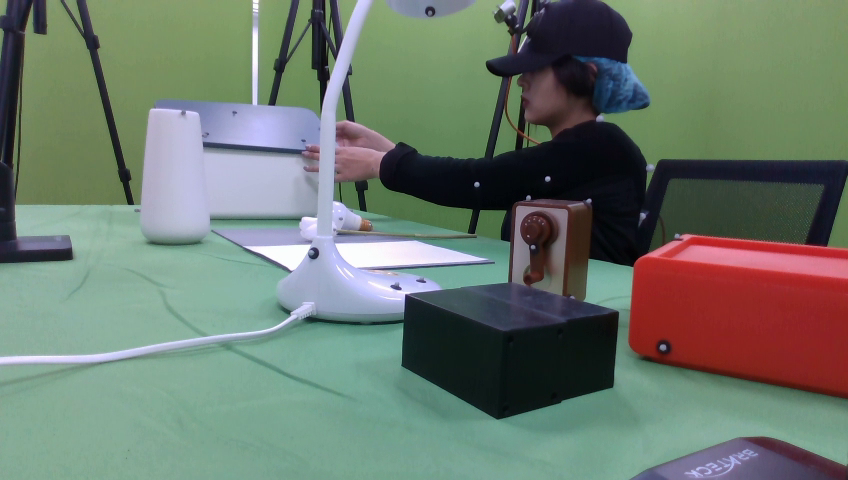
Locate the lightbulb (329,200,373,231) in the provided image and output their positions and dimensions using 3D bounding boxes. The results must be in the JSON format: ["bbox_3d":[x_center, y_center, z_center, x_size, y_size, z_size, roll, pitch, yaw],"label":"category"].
[{"bbox_3d":[-0.143,-0.036,1.109,0.108,0.059,0.059,16,0,-28],"label":"lightbulb"}]

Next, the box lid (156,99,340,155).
[{"bbox_3d":[-0.392,-0.254,1.360,0.373,0.015,0.262,-2,32,-29],"label":"box lid"}]

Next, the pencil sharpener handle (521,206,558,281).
[{"bbox_3d":[0.101,0.003,0.555,0.036,0.067,0.031,0,5,31],"label":"pencil sharpener handle"}]

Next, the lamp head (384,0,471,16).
[{"bbox_3d":[-0.001,-0.301,0.599,0.112,0.112,0.123,4,-30,14],"label":"lamp head"}]

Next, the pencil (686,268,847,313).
[{"bbox_3d":[0.308,0.045,0.516,0.194,0.012,0.012,13,5,-12],"label":"pencil"}]

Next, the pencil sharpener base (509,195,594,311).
[{"bbox_3d":[0.126,0.011,0.601,0.061,0.107,0.077,7,9,30],"label":"pencil sharpener base"}]

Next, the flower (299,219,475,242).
[{"bbox_3d":[-0.049,-0.010,1.081,0.364,0.038,0.044,2,36,-36],"label":"flower"}]

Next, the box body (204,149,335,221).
[{"bbox_3d":[-0.411,-0.135,1.386,0.366,0.160,0.253,-2,9,-29],"label":"box body"}]

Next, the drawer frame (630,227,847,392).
[{"bbox_3d":[0.292,0.043,0.484,0.201,0.082,0.214,7,9,29],"label":"drawer frame"}]

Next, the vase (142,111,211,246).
[{"bbox_3d":[-0.378,-0.093,0.920,0.098,0.200,0.098,2,9,0],"label":"vase"}]

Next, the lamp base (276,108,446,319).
[{"bbox_3d":[-0.061,-0.027,0.556,0.160,0.180,0.180,4,10,20],"label":"lamp base"}]

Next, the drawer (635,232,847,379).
[{"bbox_3d":[0.292,0.045,0.488,0.193,0.073,0.213,7,9,30],"label":"drawer"}]
